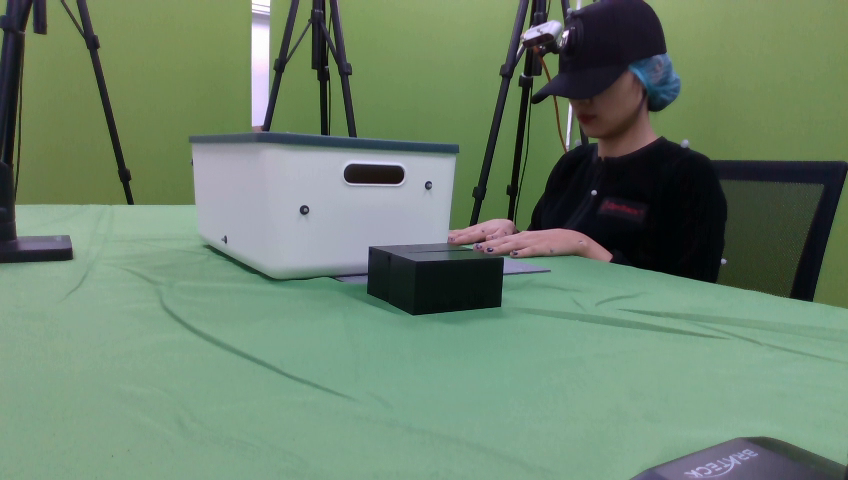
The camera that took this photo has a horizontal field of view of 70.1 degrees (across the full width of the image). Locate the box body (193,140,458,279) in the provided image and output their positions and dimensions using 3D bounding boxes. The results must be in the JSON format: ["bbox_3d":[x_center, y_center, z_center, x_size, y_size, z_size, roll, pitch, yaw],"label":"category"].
[{"bbox_3d":[-0.154,-0.059,0.840,0.255,0.160,0.362,-2,9,-33],"label":"box body"}]

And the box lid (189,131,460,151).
[{"bbox_3d":[-0.150,-0.132,0.828,0.265,0.015,0.369,-3,9,-33],"label":"box lid"}]
